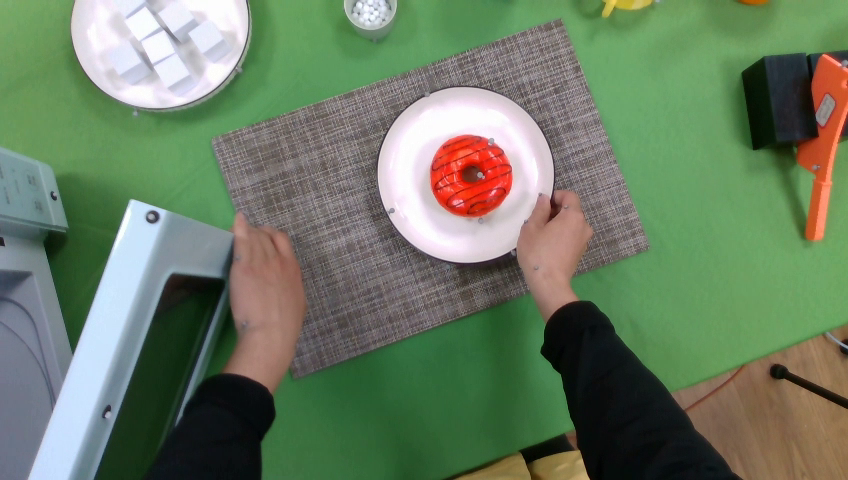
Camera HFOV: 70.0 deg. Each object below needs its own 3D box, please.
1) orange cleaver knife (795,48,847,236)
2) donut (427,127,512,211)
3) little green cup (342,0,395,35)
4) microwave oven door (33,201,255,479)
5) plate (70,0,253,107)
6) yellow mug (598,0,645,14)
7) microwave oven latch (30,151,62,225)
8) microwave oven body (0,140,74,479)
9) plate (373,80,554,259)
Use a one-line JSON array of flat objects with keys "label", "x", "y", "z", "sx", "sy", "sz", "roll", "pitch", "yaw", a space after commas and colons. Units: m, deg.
[{"label": "orange cleaver knife", "x": 0.455, "y": -0.109, "z": 0.701, "sx": 0.012, "sy": 0.076, "sz": 0.213, "roll": -5, "pitch": 115, "yaw": 1}, {"label": "donut", "x": 0.051, "y": -0.081, "z": 0.697, "sx": 0.099, "sy": 0.048, "sz": 0.099, "roll": 0, "pitch": 86, "yaw": 1}, {"label": "little green cup", "x": -0.064, "y": -0.277, "z": 0.723, "sx": 0.061, "sy": 0.038, "sz": 0.061, "roll": 0, "pitch": 85, "yaw": -1}, {"label": "microwave oven door", "x": -0.266, "y": 0.146, "z": 0.570, "sx": 0.039, "sy": 0.244, "sz": 0.355, "roll": 18, "pitch": 86, "yaw": 2}, {"label": "plate", "x": -0.304, "y": -0.256, "z": 0.717, "sx": 0.208, "sy": 0.039, "sz": 0.207, "roll": 0, "pitch": 86, "yaw": -1}, {"label": "yellow mug", "x": 0.242, "y": -0.328, "z": 0.720, "sx": 0.100, "sy": 0.064, "sz": 0.130, "roll": 28, "pitch": 87, "yaw": 1}, {"label": "microwave oven latch", "x": -0.435, "y": -0.058, "z": 0.681, "sx": 0.030, "sy": 0.029, "sz": 0.079, "roll": -14, "pitch": 87, "yaw": -3}, {"label": "microwave oven body", "x": -0.523, "y": 0.146, "z": 0.569, "sx": 0.326, "sy": 0.260, "sz": 0.441, "roll": -17, "pitch": 87, "yaw": -3}, {"label": "plate", "x": 0.045, "y": -0.081, "z": 0.708, "sx": 0.209, "sy": 0.038, "sz": 0.208, "roll": 0, "pitch": 86, "yaw": -1}]
